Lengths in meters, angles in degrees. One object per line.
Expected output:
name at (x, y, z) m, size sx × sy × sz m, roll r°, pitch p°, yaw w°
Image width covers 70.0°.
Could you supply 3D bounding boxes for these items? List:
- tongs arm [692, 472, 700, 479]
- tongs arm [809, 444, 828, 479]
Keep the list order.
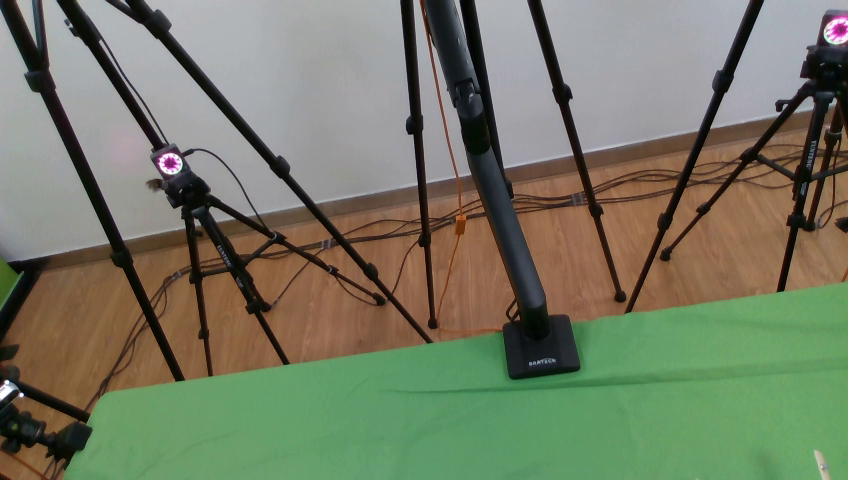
tongs arm at (0.390, 0.448, 0.688) m, size 0.028 × 0.028 × 0.383 m, roll -30°, pitch 39°, yaw 19°
tongs arm at (0.453, 0.414, 0.648) m, size 0.050 × 0.027 × 0.381 m, roll -23°, pitch 43°, yaw 32°
